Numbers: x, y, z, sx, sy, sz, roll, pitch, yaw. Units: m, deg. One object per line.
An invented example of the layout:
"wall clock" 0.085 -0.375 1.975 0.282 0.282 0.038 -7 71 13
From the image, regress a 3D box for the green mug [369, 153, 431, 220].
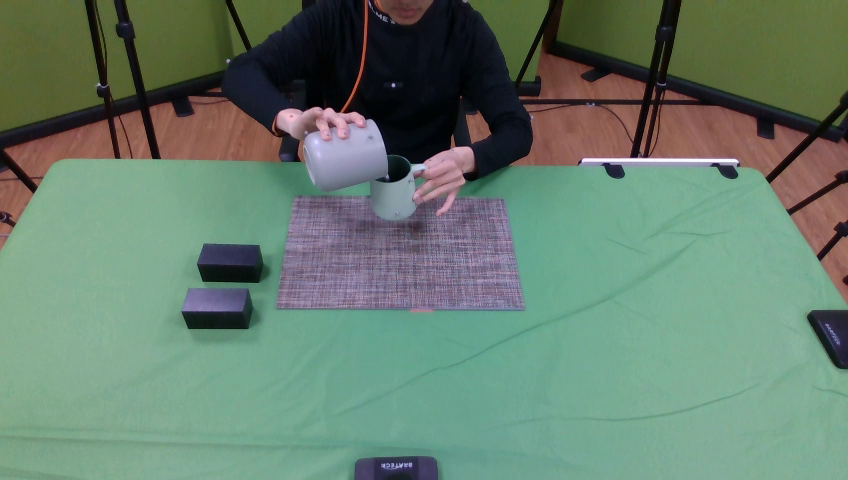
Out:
"green mug" -0.045 -0.106 1.154 0.125 0.105 0.092 -22 51 -15

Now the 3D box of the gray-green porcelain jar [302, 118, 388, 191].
"gray-green porcelain jar" -0.140 -0.147 1.054 0.126 0.106 0.105 -17 50 -15
